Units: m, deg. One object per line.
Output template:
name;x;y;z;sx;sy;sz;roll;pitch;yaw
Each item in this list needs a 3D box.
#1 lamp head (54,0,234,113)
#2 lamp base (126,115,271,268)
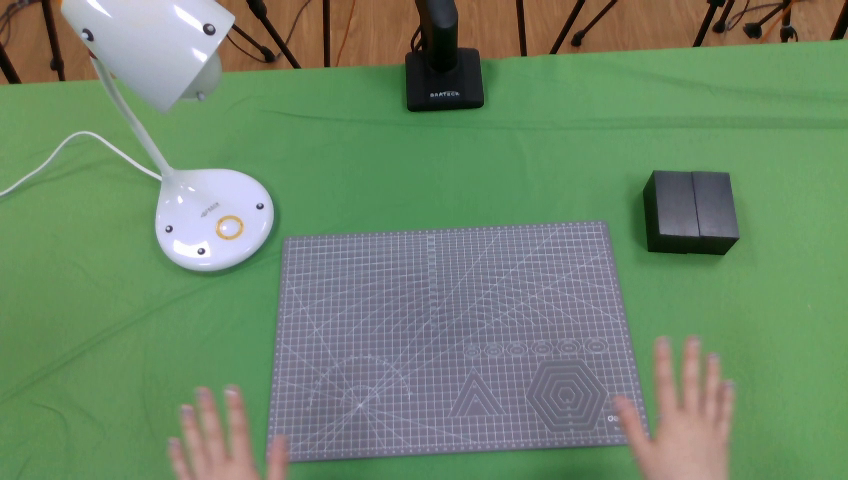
lamp head;-0.246;-0.188;0.522;0.124;0.112;0.112;34;63;-25
lamp base;-0.307;-0.074;0.781;0.178;0.182;0.160;28;67;18
